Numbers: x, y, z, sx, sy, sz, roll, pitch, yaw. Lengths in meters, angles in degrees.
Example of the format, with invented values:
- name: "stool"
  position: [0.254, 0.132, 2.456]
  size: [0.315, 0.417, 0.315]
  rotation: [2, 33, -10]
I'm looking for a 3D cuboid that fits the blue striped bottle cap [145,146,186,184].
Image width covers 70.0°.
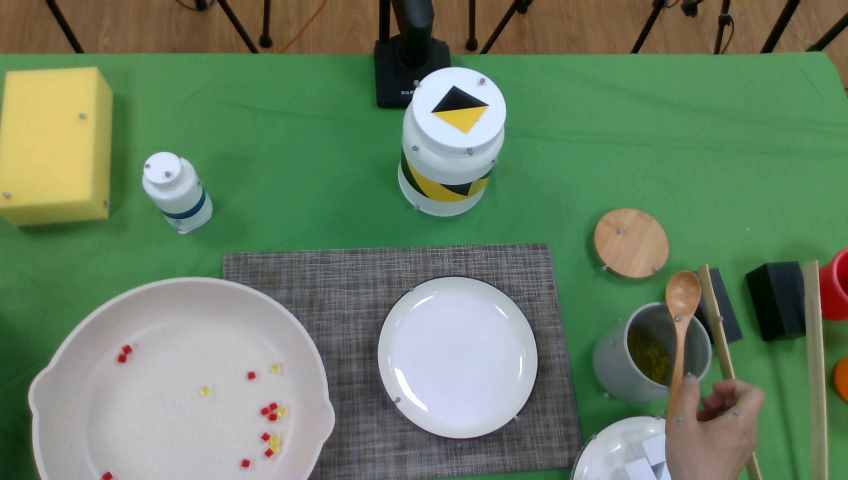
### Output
- name: "blue striped bottle cap"
  position: [-0.312, -0.091, 0.731]
  size: [0.044, 0.021, 0.044]
  rotation: [2, 70, -6]

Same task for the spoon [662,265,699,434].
- name: "spoon"
  position: [0.288, 0.123, 0.693]
  size: [0.042, 0.022, 0.192]
  rotation: [14, 72, -4]

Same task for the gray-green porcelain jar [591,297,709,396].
- name: "gray-green porcelain jar"
  position: [0.276, 0.138, 0.761]
  size: [0.106, 0.127, 0.105]
  rotation: [2, 69, -5]

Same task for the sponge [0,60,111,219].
- name: "sponge"
  position: [-0.495, -0.137, 0.815]
  size: [0.118, 0.061, 0.205]
  rotation: [-6, 71, -9]

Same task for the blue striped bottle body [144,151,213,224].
- name: "blue striped bottle body"
  position: [-0.316, -0.071, 0.778]
  size: [0.063, 0.121, 0.062]
  rotation: [2, 68, -5]

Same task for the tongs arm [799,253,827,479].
- name: "tongs arm"
  position: [0.495, 0.207, 0.779]
  size: [0.028, 0.028, 0.386]
  rotation: [8, 78, -11]

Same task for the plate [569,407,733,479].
- name: "plate"
  position: [0.276, 0.313, 0.743]
  size: [0.208, 0.039, 0.206]
  rotation: [2, 69, -5]

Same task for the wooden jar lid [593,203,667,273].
- name: "wooden jar lid"
  position: [0.295, -0.002, 0.874]
  size: [0.108, 0.021, 0.107]
  rotation: [2, 70, -5]

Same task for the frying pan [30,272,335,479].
- name: "frying pan"
  position: [-0.260, 0.271, 0.619]
  size: [0.308, 0.103, 0.483]
  rotation: [13, 57, -15]

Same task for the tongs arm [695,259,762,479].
- name: "tongs arm"
  position: [0.411, 0.210, 0.767]
  size: [0.051, 0.026, 0.383]
  rotation: [-6, 80, -11]

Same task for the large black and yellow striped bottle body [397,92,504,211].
- name: "large black and yellow striped bottle body"
  position: [0.033, -0.132, 0.806]
  size: [0.131, 0.185, 0.130]
  rotation: [2, 68, -5]

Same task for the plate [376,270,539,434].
- name: "plate"
  position: [0.041, 0.141, 0.778]
  size: [0.209, 0.038, 0.207]
  rotation: [2, 69, -5]

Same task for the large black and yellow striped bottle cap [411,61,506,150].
- name: "large black and yellow striped bottle cap"
  position: [0.042, -0.163, 0.729]
  size: [0.115, 0.019, 0.114]
  rotation: [2, 70, -5]
